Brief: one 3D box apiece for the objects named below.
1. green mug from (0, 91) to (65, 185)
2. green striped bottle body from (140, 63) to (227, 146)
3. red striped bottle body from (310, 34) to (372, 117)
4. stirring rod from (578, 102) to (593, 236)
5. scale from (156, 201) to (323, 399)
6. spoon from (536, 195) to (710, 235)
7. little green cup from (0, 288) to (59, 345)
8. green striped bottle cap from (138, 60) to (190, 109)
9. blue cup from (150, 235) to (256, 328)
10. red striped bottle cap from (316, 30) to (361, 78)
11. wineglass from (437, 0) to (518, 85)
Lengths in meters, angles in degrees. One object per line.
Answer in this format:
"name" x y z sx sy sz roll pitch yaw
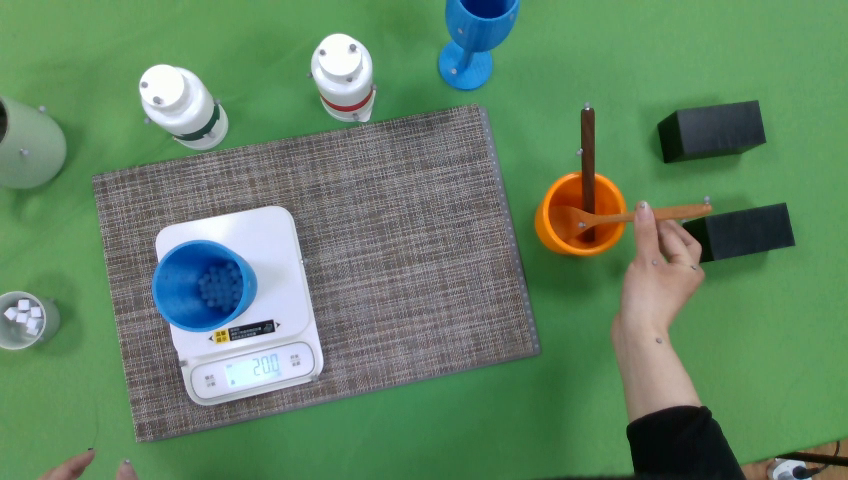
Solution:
"green mug" -0.449 -0.094 0.630 0.092 0.105 0.125 23 83 -1
"green striped bottle body" -0.254 -0.143 0.640 0.063 0.119 0.063 0 84 -4
"red striped bottle body" -0.088 -0.180 0.655 0.063 0.120 0.063 0 84 -4
"stirring rod" 0.174 -0.070 0.651 0.014 0.178 0.005 -9 42 7
"scale" -0.202 0.065 0.666 0.149 0.031 0.200 -13 86 -5
"spoon" 0.201 -0.029 0.638 0.022 0.192 0.041 -11 95 -41
"little green cup" -0.426 0.082 0.648 0.061 0.038 0.061 1 84 -5
"green striped bottle cap" -0.251 -0.150 0.585 0.044 0.020 0.044 0 84 -2
"blue cup" -0.208 0.041 0.602 0.093 0.100 0.092 0 87 -4
"red striped bottle cap" -0.085 -0.185 0.602 0.044 0.018 0.044 0 83 -3
"wineglass" 0.052 -0.226 0.642 0.074 0.172 0.073 0 84 -3
